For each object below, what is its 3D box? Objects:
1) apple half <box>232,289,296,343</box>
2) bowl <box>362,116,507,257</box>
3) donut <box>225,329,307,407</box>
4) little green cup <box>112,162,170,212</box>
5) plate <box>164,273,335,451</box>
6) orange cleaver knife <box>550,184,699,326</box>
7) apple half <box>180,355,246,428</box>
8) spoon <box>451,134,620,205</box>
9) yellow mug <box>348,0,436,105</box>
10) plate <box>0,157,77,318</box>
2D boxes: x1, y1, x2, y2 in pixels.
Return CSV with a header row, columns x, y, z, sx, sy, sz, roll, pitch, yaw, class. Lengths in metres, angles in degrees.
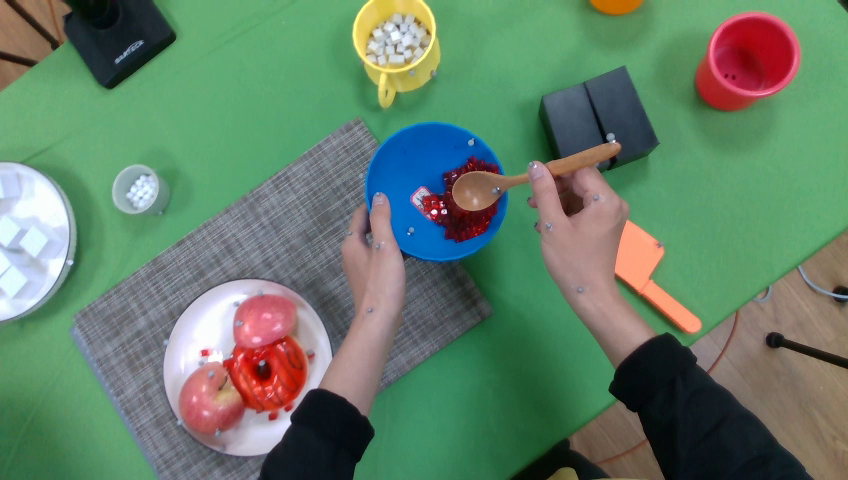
x,y,z,sx,sy,sz,roll,pitch,yaw,class
-0.190,0.080,0.709,0.081,0.033,0.080,-7,42,7,apple half
0.006,-0.048,0.653,0.152,0.077,0.150,2,78,-8,bowl
-0.187,0.148,0.717,0.099,0.048,0.099,0,86,5,donut
-0.358,-0.064,0.770,0.061,0.039,0.061,-1,84,6,little green cup
-0.207,0.144,0.730,0.209,0.038,0.208,-1,84,6,plate
0.242,0.016,0.712,0.210,0.012,0.077,39,84,10,orange cleaver knife
-0.251,0.182,0.700,0.075,0.053,0.080,-40,77,42,apple half
0.093,-0.063,0.552,0.021,0.193,0.042,-35,105,-35,spoon
-0.041,-0.230,0.741,0.100,0.064,0.130,11,86,7,yellow mug
-0.541,-0.002,0.782,0.207,0.039,0.207,-1,84,6,plate
